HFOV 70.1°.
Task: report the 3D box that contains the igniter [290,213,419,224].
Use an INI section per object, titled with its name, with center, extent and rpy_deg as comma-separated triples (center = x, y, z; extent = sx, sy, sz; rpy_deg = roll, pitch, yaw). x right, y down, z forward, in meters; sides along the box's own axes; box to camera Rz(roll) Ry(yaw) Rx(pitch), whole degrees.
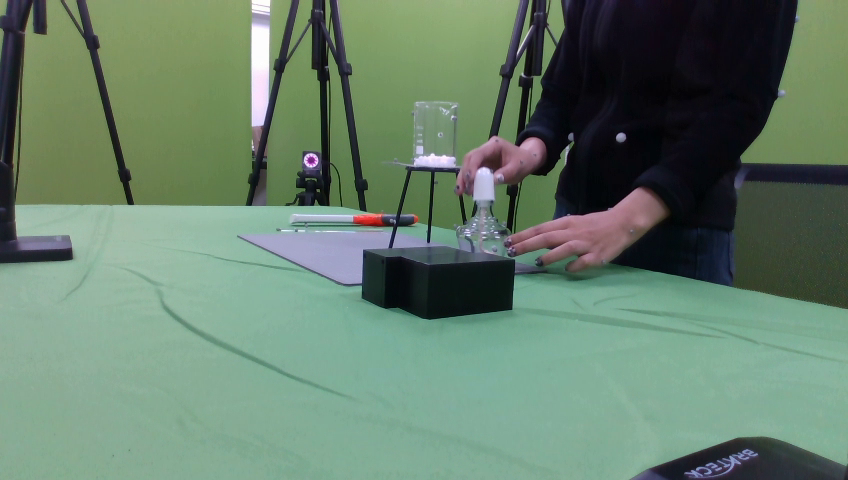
[igniter]
center = -0.143, -0.046, 1.288
extent = 0.278, 0.025, 0.057
rpy_deg = -1, -3, -24

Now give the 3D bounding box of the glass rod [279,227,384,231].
[glass rod]
center = -0.175, -0.021, 1.161
extent = 0.200, 0.008, 0.008
rpy_deg = 1, 7, -15

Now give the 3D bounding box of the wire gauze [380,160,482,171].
[wire gauze]
center = 0.011, -0.119, 0.951
extent = 0.122, 0.011, 0.124
rpy_deg = -5, 12, -32

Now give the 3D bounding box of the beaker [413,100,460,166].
[beaker]
center = 0.020, -0.167, 0.953
extent = 0.073, 0.100, 0.084
rpy_deg = 5, 9, 26

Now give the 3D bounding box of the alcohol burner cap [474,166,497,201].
[alcohol burner cap]
center = 0.087, -0.079, 0.840
extent = 0.034, 0.048, 0.034
rpy_deg = 5, 11, -1

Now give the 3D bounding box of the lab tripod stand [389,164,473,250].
[lab tripod stand]
center = 0.011, -0.054, 0.960
extent = 0.148, 0.131, 0.148
rpy_deg = 2, 9, 0

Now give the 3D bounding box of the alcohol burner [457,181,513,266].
[alcohol burner]
center = 0.084, -0.025, 0.838
extent = 0.078, 0.119, 0.078
rpy_deg = 0, 8, 0
